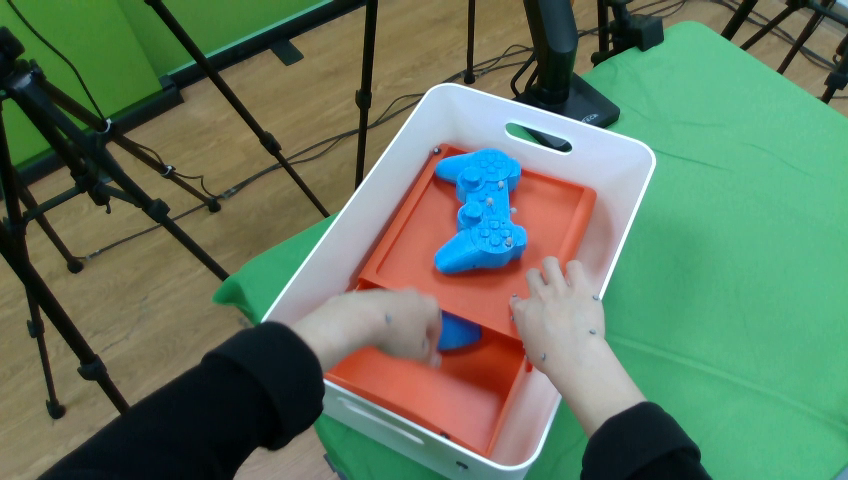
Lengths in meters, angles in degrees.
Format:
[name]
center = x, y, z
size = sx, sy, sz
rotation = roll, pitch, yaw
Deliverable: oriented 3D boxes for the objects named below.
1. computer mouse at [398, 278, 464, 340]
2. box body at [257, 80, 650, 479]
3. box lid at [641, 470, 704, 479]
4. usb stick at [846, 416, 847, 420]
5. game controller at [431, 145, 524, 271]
[computer mouse]
center = 0.009, 0.069, 0.666
size = 0.062, 0.041, 0.116
rotation = -4, 17, 10
[box body]
center = 0.045, 0.036, 0.626
size = 0.253, 0.162, 0.362
rotation = 22, 60, 15
[box lid]
center = 0.187, 0.391, 0.479
size = 0.263, 0.015, 0.367
rotation = -14, 58, -6
[usb stick]
center = 0.442, 0.185, 0.581
size = 0.021, 0.027, 0.058
rotation = -28, 63, -21
[game controller]
center = 0.056, -0.041, 0.657
size = 0.097, 0.052, 0.153
rotation = 1, 57, -1
